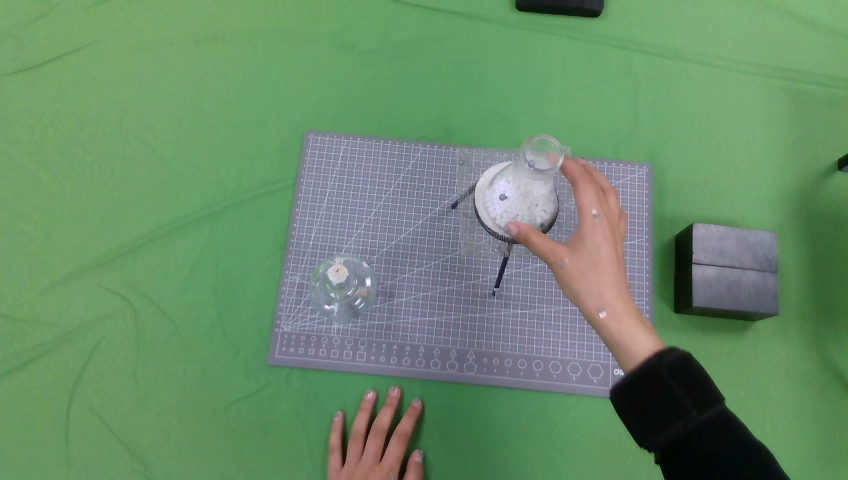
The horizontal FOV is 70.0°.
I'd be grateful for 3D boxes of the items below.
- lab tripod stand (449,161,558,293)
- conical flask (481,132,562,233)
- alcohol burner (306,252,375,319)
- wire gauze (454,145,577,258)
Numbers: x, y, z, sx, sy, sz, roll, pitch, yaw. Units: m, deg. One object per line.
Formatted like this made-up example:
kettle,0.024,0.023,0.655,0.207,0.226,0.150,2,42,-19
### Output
lab tripod stand,0.095,-0.026,0.687,0.148,0.132,0.147,1,73,-2
conical flask,0.097,-0.058,0.566,0.075,0.122,0.075,1,73,-2
alcohol burner,-0.094,0.046,0.671,0.078,0.119,0.077,1,72,-3
wire gauze,0.094,-0.042,0.624,0.125,0.011,0.121,1,76,-5
